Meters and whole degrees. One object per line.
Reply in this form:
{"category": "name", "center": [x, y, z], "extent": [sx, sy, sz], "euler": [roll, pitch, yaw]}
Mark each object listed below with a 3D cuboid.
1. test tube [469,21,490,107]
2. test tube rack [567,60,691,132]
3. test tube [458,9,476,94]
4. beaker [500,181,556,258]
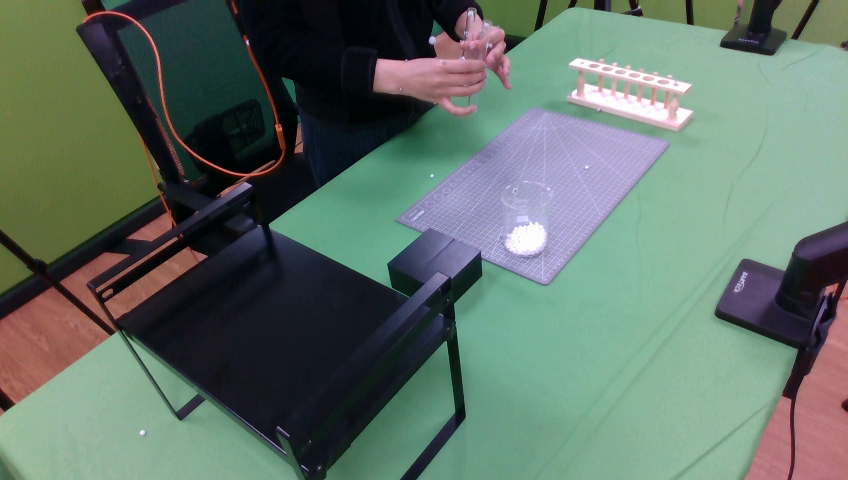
{"category": "test tube", "center": [0.094, -0.296, 1.027], "extent": [0.017, 0.150, 0.017], "euler": [5, 39, -3]}
{"category": "test tube rack", "center": [0.411, -0.299, 1.217], "extent": [0.240, 0.085, 0.067], "euler": [26, 51, 34]}
{"category": "test tube", "center": [0.073, -0.320, 1.038], "extent": [0.017, 0.151, 0.017], "euler": [3, 42, -2]}
{"category": "beaker", "center": [0.159, -0.030, 0.922], "extent": [0.084, 0.100, 0.073], "euler": [-13, 41, -8]}
